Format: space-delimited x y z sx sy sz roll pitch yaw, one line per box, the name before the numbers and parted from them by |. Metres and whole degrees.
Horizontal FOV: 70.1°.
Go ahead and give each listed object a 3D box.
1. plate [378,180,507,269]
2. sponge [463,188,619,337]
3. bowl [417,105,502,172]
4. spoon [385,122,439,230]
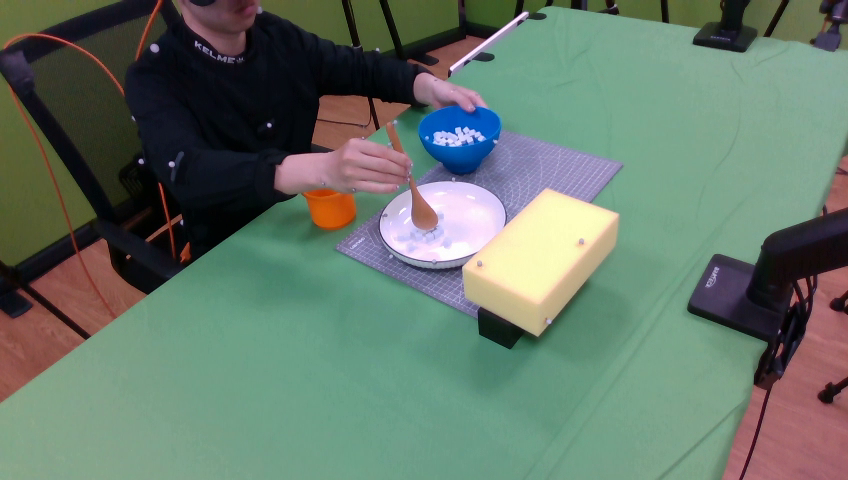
plate | 0.031 -0.022 0.974 0.209 0.038 0.208 -4 40 4
sponge | 0.160 0.022 0.814 0.117 0.061 0.207 24 50 32
bowl | 0.067 -0.175 1.095 0.151 0.077 0.150 -4 39 4
spoon | -0.022 -0.088 0.886 0.041 0.195 0.021 -15 33 11
